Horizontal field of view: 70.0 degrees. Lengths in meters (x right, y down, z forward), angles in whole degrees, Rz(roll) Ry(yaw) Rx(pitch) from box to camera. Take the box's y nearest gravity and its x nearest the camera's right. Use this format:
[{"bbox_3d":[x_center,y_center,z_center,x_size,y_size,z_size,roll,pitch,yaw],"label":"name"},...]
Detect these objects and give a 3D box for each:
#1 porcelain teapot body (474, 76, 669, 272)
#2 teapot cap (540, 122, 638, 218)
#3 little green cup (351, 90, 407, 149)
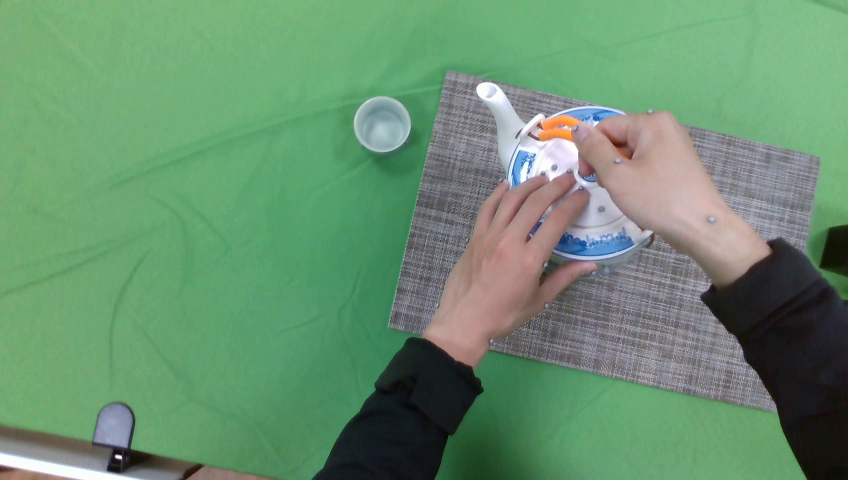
[{"bbox_3d":[0.126,-0.072,0.569,0.204,0.226,0.145,41,89,14],"label":"porcelain teapot body"},{"bbox_3d":[0.143,-0.062,0.523,0.085,0.044,0.085,-2,79,10],"label":"teapot cap"},{"bbox_3d":[-0.049,-0.131,0.674,0.061,0.038,0.061,0,85,-2],"label":"little green cup"}]
